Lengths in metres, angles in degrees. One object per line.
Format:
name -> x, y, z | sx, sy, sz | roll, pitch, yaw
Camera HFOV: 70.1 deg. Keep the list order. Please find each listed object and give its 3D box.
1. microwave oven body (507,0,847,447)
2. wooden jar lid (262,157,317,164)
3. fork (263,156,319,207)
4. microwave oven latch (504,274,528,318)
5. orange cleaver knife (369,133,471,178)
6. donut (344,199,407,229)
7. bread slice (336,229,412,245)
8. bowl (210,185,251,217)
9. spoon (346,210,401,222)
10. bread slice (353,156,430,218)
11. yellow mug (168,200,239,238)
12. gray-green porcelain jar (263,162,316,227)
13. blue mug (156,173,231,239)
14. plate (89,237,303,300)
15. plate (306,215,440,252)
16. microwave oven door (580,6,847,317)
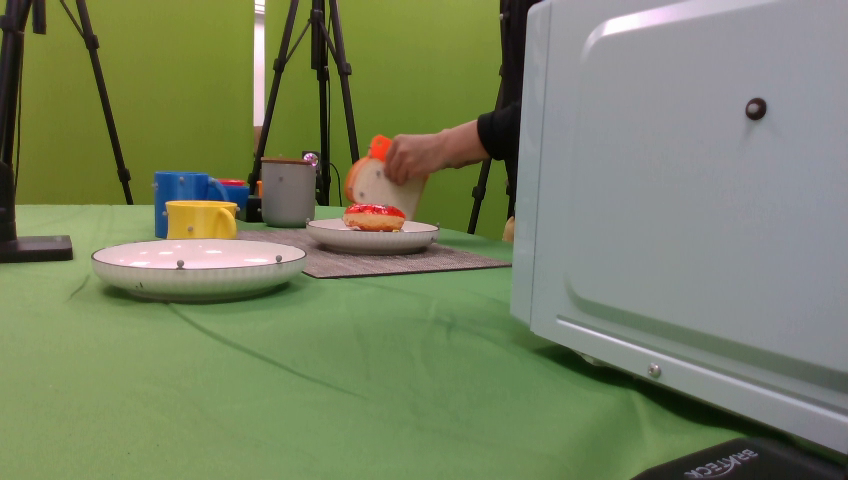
microwave oven body -> 0.331, -0.042, 0.425 | 0.444, 0.260, 0.324 | -2, 8, -31
wooden jar lid -> -0.269, -0.154, 1.208 | 0.108, 0.020, 0.108 | 3, 4, 0
fork -> -0.331, -0.144, 1.505 | 0.207, 0.018, 0.028 | -42, -20, 22
microwave oven latch -> 0.100, 0.041, 0.471 | 0.079, 0.029, 0.030 | -1, 8, -28
orange cleaver knife -> -0.007, -0.155, 1.146 | 0.212, 0.077, 0.012 | 2, 1, -25
donut -> -0.076, -0.039, 0.949 | 0.099, 0.048, 0.099 | 2, 4, 0
bread slice -> -0.074, -0.006, 0.938 | 0.105, 0.019, 0.131 | -2, 5, -18
bowl -> -0.408, -0.064, 1.155 | 0.151, 0.077, 0.151 | 2, 8, 0
spoon -> -0.121, -0.060, 1.400 | 0.042, 0.021, 0.192 | -28, 25, -37
bread slice -> -0.064, -0.094, 1.115 | 0.135, 0.107, 0.018 | 17, -1, -26
yellow mug -> -0.319, -0.023, 0.904 | 0.130, 0.064, 0.100 | 9, 11, 36
gray-green porcelain jar -> -0.271, -0.092, 1.217 | 0.106, 0.126, 0.106 | 2, 7, 0
blue mug -> -0.381, -0.057, 1.004 | 0.117, 0.106, 0.082 | 0, 8, -12
plate -> -0.233, 0.029, 0.637 | 0.208, 0.039, 0.207 | 2, 7, 0
plate -> -0.079, -0.011, 0.950 | 0.209, 0.038, 0.209 | 2, 8, 0
microwave oven door -> 0.295, -0.067, 0.570 | 0.358, 0.243, 0.039 | -3, 8, -31
